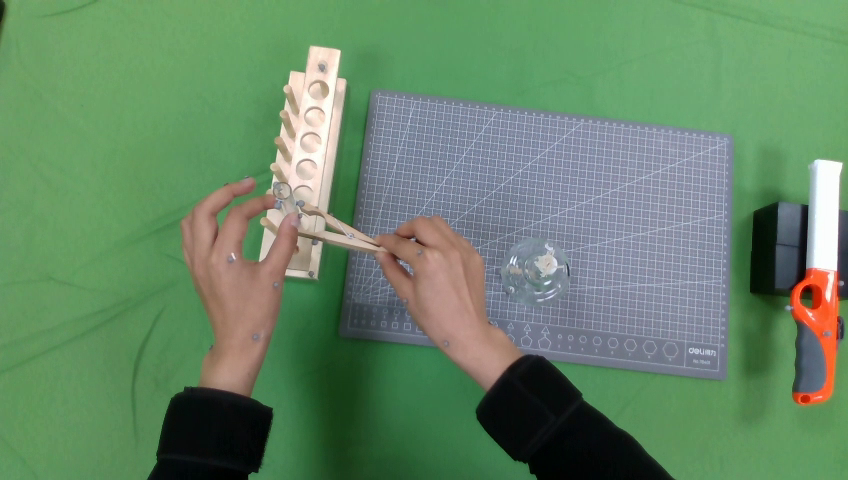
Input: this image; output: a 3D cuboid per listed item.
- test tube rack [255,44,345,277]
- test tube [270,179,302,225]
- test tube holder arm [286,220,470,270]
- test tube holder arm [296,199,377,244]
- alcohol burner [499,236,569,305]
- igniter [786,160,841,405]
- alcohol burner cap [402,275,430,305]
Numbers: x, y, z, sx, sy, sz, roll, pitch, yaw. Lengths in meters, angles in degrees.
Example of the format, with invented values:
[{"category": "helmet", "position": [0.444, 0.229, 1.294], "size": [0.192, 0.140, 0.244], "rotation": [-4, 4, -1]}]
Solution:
[{"category": "test tube rack", "position": [-0.141, -0.086, 0.671], "size": [0.067, 0.085, 0.241], "rotation": [8, 80, -2]}, {"category": "test tube", "position": [-0.126, -0.030, 0.565], "size": [0.017, 0.150, 0.017], "rotation": [1, 80, -7]}, {"category": "test tube holder arm", "position": [-0.044, 0.005, 0.578], "size": [0.178, 0.015, 0.013], "rotation": [13, 68, 3]}, {"category": "test tube holder arm", "position": [-0.084, -0.014, 0.584], "size": [0.087, 0.015, 0.010], "rotation": [29, 69, 9]}, {"category": "alcohol burner", "position": [0.121, 0.031, 0.652], "size": [0.078, 0.119, 0.077], "rotation": [0, 82, -2]}, {"category": "igniter", "position": [0.433, 0.044, 0.671], "size": [0.057, 0.025, 0.275], "rotation": [9, 79, 4]}, {"category": "alcohol burner cap", "position": [-0.008, 0.054, 0.676], "size": [0.034, 0.048, 0.033], "rotation": [1, 79, -4]}]
